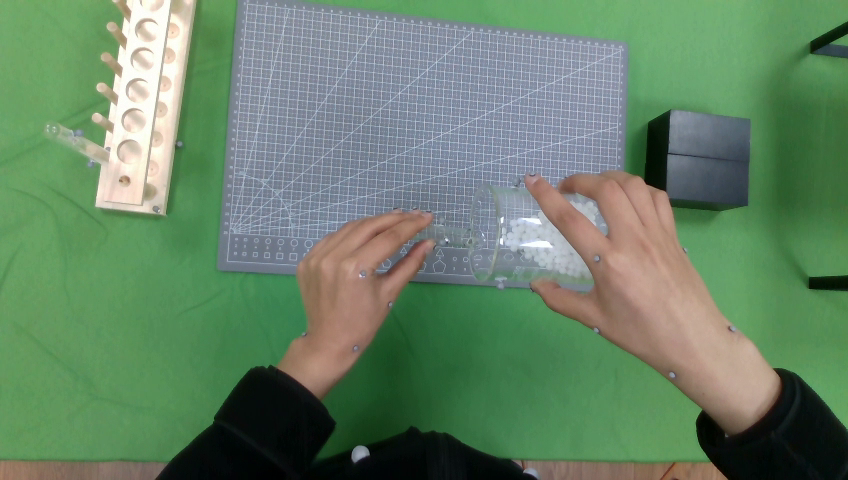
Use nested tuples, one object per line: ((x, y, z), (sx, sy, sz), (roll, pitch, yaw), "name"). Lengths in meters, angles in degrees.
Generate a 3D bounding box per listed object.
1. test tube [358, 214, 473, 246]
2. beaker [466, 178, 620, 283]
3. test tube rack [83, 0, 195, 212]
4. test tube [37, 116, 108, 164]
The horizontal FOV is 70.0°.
((-0.013, -0.011, 0.543), (0.017, 0.149, 0.017), (-7, 101, -40), "test tube")
((0.088, -0.004, 0.461), (0.100, 0.084, 0.074), (4, 83, -12), "beaker")
((-0.285, -0.155, 0.598), (0.067, 0.085, 0.242), (7, 85, -8), "test tube rack")
((-0.307, -0.087, 0.545), (0.017, 0.150, 0.017), (0, 87, -9), "test tube")
